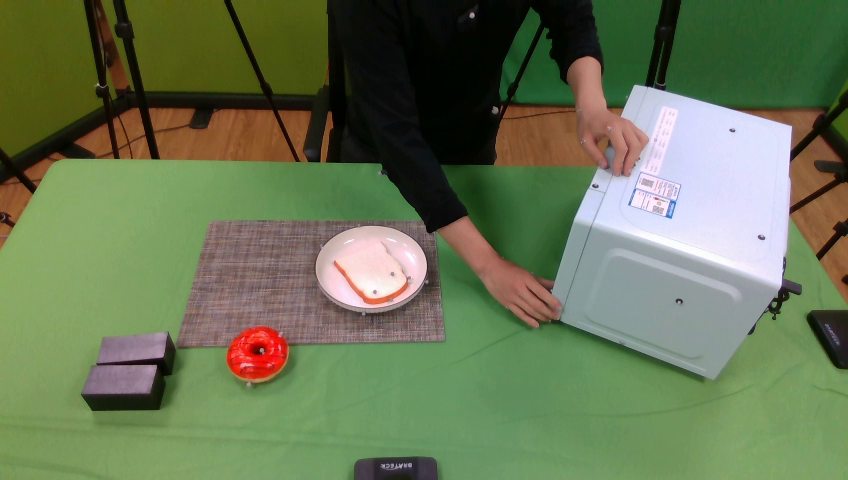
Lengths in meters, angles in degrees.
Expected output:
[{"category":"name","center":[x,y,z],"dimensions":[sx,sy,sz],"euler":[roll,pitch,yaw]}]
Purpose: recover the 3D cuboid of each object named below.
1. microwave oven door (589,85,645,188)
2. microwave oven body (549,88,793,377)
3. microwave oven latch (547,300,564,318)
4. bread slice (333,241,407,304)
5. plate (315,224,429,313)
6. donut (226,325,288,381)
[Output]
[{"category":"microwave oven door","center":[0.342,-0.107,1.148],"dimensions":[0.039,0.245,0.354],"euler":[21,48,15]},{"category":"microwave oven body","center":[0.456,-0.028,1.088],"dimensions":[0.325,0.261,0.440],"euler":[20,47,16]},{"category":"microwave oven latch","center":[0.242,0.102,1.081],"dimensions":[0.030,0.029,0.079],"euler":[21,48,17]},{"category":"bread slice","center":[-0.092,0.060,1.117],"dimensions":[0.105,0.019,0.130],"euler":[-24,52,-24]},{"category":"plate","center":[-0.095,0.055,1.121],"dimensions":[0.208,0.039,0.206],"euler":[2,46,-2]},{"category":"donut","center":[-0.270,0.182,0.983],"dimensions":[0.099,0.048,0.098],"euler":[5,49,-5]}]
